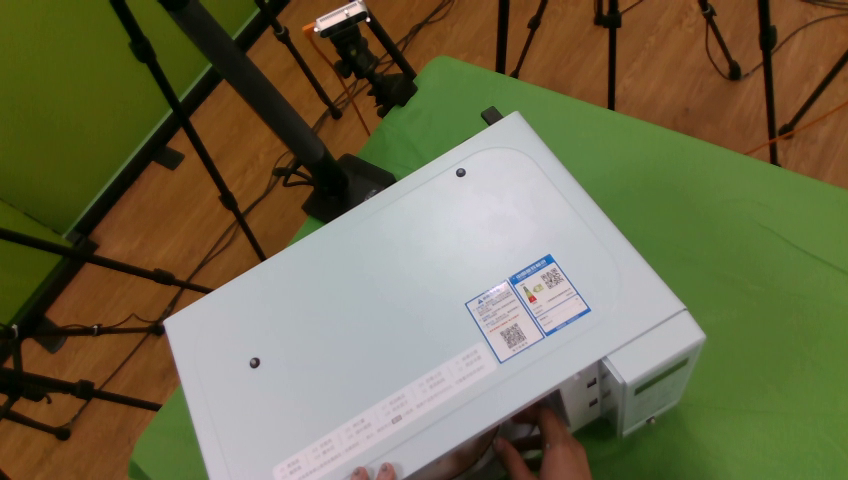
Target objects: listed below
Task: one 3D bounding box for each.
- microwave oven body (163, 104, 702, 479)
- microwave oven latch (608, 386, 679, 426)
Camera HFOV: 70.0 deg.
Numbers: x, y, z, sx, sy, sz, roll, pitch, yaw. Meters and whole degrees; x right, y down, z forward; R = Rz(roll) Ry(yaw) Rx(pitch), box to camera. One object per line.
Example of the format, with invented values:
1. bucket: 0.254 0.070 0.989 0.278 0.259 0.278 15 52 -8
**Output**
1. microwave oven body: 0.004 0.119 0.674 0.442 0.263 0.322 -32 60 0
2. microwave oven latch: 0.248 0.179 0.685 0.079 0.030 0.030 -30 60 1
